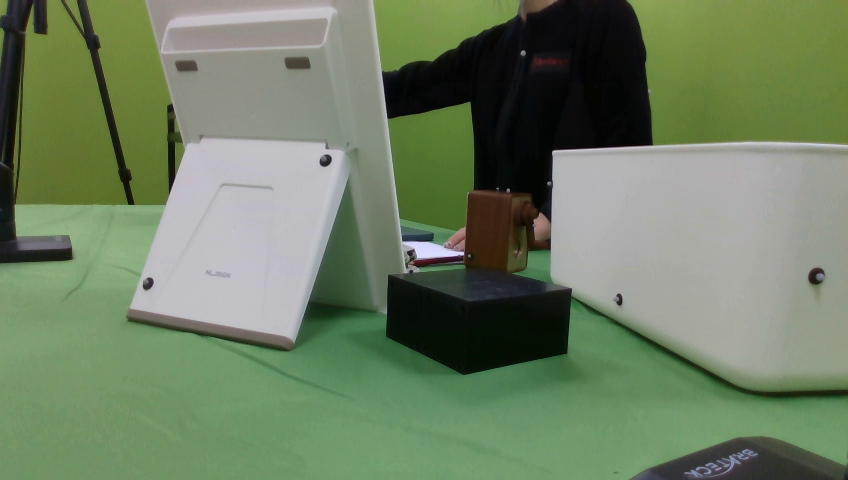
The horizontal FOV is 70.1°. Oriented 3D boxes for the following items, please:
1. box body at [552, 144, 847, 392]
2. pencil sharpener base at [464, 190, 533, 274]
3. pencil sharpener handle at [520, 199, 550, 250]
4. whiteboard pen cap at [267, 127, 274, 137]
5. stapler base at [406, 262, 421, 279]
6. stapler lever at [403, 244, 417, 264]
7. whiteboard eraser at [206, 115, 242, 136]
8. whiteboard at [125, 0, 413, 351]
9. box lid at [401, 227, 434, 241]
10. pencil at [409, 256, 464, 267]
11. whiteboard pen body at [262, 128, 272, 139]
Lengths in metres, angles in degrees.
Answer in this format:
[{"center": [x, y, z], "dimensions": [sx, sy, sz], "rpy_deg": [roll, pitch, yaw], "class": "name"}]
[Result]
[{"center": [0.290, 0.002, 0.549], "dimensions": [0.255, 0.160, 0.363], "rpy_deg": [2, 7, -10], "class": "box body"}, {"center": [0.102, -0.012, 0.812], "dimensions": [0.076, 0.107, 0.061], "rpy_deg": [8, 9, 36], "class": "pencil sharpener base"}, {"center": [0.147, -0.019, 0.785], "dimensions": [0.030, 0.068, 0.036], "rpy_deg": [8, 26, 36], "class": "pencil sharpener handle"}, {"center": [-0.340, -0.239, 1.338], "dimensions": [0.018, 0.018, 0.033], "rpy_deg": [1, -1, -14], "class": "whiteboard pen cap"}, {"center": [-0.069, 0.027, 0.759], "dimensions": [0.130, 0.024, 0.041], "rpy_deg": [9, 13, 23], "class": "stapler base"}, {"center": [-0.066, 0.002, 0.755], "dimensions": [0.117, 0.040, 0.027], "rpy_deg": [9, 13, 23], "class": "stapler lever"}, {"center": [-0.438, -0.249, 1.320], "dimensions": [0.056, 0.042, 0.112], "rpy_deg": [-3, 9, -30], "class": "whiteboard eraser"}, {"center": [-0.151, -0.050, 0.471], "dimensions": [0.216, 0.305, 0.144], "rpy_deg": [6, 27, 24], "class": "whiteboard"}, {"center": [-0.196, -0.015, 1.105], "dimensions": [0.373, 0.015, 0.262], "rpy_deg": [-1, 7, -32], "class": "box lid"}, {"center": [0.041, 0.027, 0.850], "dimensions": [0.012, 0.012, 0.195], "rpy_deg": [10, 10, 44], "class": "pencil"}, {"center": [-0.361, -0.245, 1.393], "dimensions": [0.017, 0.017, 0.140], "rpy_deg": [0, 4, -20], "class": "whiteboard pen body"}]
